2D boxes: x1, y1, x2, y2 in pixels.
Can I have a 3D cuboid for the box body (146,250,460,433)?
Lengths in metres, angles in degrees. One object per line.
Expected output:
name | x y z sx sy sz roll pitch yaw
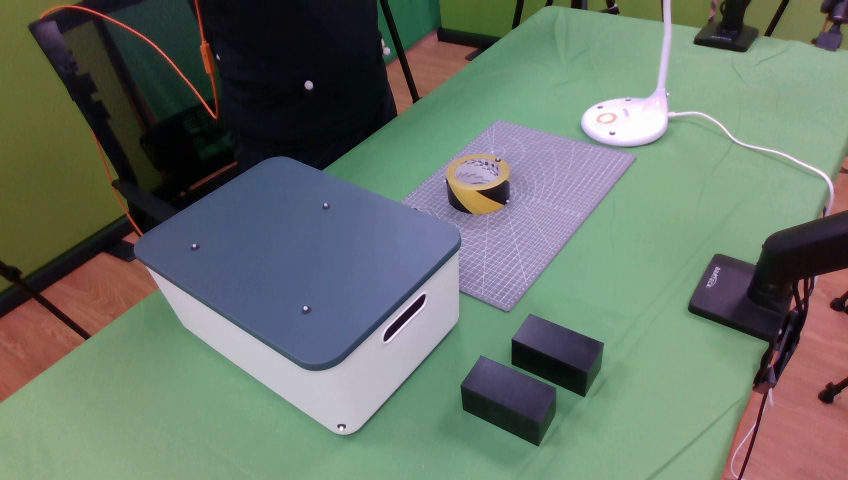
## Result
box body | -0.156 0.059 0.814 0.361 0.161 0.255 24 49 31

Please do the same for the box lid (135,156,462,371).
box lid | -0.162 0.004 0.765 0.368 0.015 0.264 24 49 31

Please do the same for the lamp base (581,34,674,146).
lamp base | 0.392 -0.291 1.129 0.180 0.181 0.159 -11 41 -8

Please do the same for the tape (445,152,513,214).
tape | 0.095 -0.099 1.042 0.117 0.053 0.116 -4 41 4
